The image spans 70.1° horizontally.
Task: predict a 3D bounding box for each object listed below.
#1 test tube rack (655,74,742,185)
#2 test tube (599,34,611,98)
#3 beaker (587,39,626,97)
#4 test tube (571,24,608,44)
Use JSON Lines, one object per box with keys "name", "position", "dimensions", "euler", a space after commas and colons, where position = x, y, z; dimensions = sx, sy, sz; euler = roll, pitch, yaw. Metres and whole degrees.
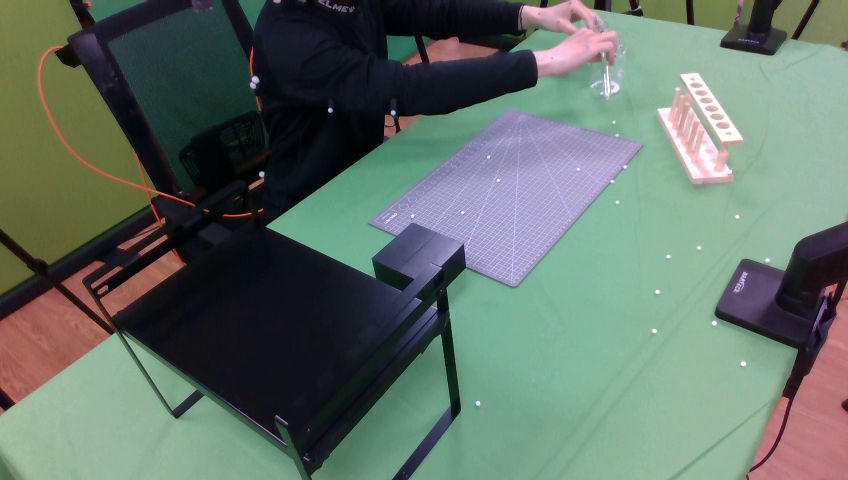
{"name": "test tube rack", "position": [0.488, -0.205, 1.093], "dimensions": [0.067, 0.085, 0.241], "euler": [-3, 41, 5]}
{"name": "test tube", "position": [0.355, -0.342, 1.187], "dimensions": [0.017, 0.017, 0.149], "euler": [0, 67, 8]}
{"name": "beaker", "position": [0.386, -0.361, 1.280], "dimensions": [0.074, 0.101, 0.083], "euler": [-22, 43, -15]}
{"name": "test tube", "position": [0.356, -0.447, 1.314], "dimensions": [0.017, 0.017, 0.150], "euler": [-16, 11, -10]}
